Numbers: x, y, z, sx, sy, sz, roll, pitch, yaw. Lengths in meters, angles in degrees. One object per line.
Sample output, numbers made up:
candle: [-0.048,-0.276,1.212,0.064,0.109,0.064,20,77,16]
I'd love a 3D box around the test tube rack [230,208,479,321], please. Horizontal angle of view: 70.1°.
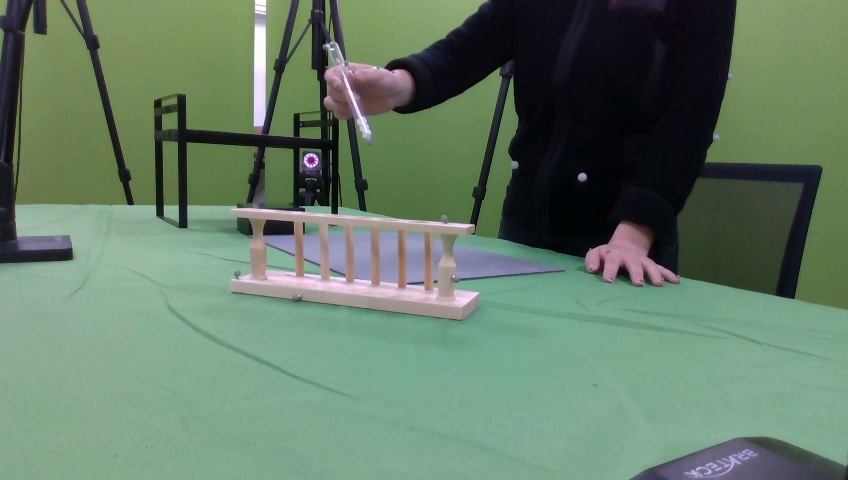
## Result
test tube rack: [-0.069,0.018,0.598,0.242,0.085,0.067,5,8,18]

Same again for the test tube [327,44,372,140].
test tube: [-0.100,-0.200,0.813,0.017,0.150,0.017,-21,-15,-5]
